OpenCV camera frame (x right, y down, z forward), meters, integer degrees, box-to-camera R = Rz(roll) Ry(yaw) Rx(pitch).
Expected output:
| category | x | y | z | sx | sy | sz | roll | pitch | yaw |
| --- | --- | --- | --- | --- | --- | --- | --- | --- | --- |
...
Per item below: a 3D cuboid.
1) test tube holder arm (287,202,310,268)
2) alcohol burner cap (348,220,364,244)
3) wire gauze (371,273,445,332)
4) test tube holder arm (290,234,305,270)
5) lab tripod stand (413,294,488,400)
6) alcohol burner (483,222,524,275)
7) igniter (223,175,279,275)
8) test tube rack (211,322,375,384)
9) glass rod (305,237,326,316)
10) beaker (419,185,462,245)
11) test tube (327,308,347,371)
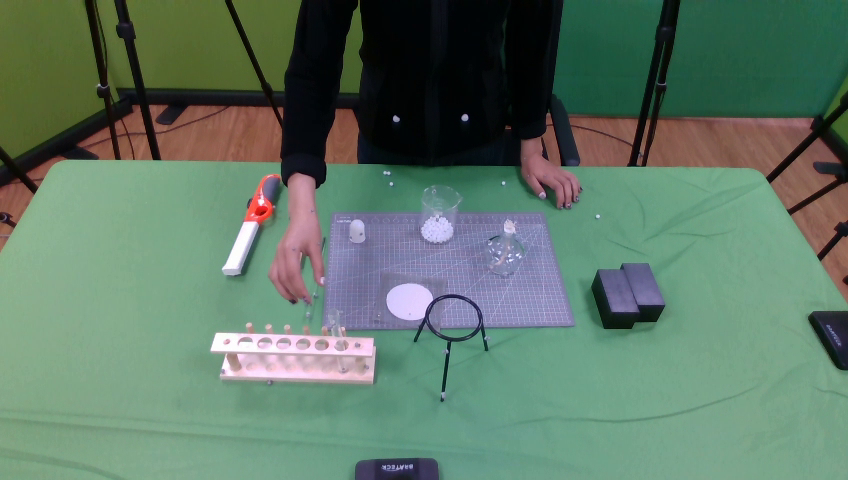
| category | x | y | z | sx | sy | sz | roll | pitch | yaw |
| --- | --- | --- | --- | --- | --- | --- | --- | --- | --- |
| test tube holder arm | -0.246 | -0.013 | 1.193 | 0.013 | 0.015 | 0.177 | 28 | 39 | -25 |
| alcohol burner cap | -0.134 | -0.019 | 1.190 | 0.034 | 0.048 | 0.033 | 2 | 46 | -2 |
| wire gauze | -0.028 | 0.109 | 1.099 | 0.125 | 0.011 | 0.121 | 7 | 45 | 4 |
| test tube holder arm | -0.242 | 0.021 | 1.164 | 0.010 | 0.015 | 0.087 | 29 | 39 | -24 |
| lab tripod stand | 0.045 | 0.159 | 0.972 | 0.148 | 0.132 | 0.147 | 2 | 44 | -2 |
| alcohol burner | 0.152 | 0.010 | 1.136 | 0.078 | 0.119 | 0.077 | 4 | 46 | -4 |
| igniter | -0.341 | -0.039 | 1.206 | 0.057 | 0.025 | 0.275 | -1 | 45 | 9 |
| test tube rack | -0.203 | 0.176 | 0.969 | 0.242 | 0.085 | 0.066 | 3 | 46 | -2 |
| glass rod | -0.202 | 0.064 | 1.131 | 0.008 | 0.008 | 0.198 | 4 | 43 | 0 |
| beaker | 0.029 | -0.047 | 1.191 | 0.084 | 0.101 | 0.073 | -5 | 47 | -10 |
| test tube | -0.132 | 0.155 | 0.926 | 0.017 | 0.151 | 0.017 | 0 | 45 | 0 |
